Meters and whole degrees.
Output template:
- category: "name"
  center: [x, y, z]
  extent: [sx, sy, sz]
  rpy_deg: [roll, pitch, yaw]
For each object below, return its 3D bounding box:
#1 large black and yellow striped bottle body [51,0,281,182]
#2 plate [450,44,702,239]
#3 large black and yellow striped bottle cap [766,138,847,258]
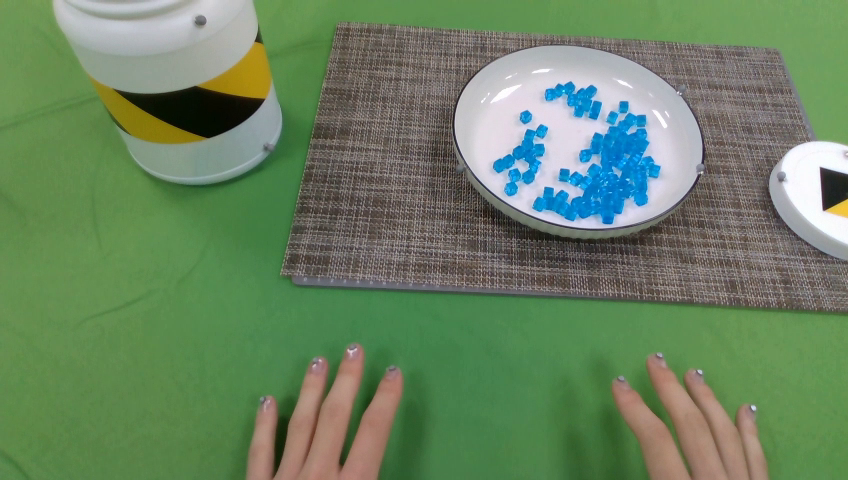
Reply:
- category: "large black and yellow striped bottle body"
  center: [-0.190, -0.148, 0.461]
  extent: [0.131, 0.185, 0.129]
  rpy_deg: [1, 57, -1]
- category: "plate"
  center: [0.124, -0.084, 0.514]
  extent: [0.208, 0.039, 0.205]
  rpy_deg: [1, 57, -1]
- category: "large black and yellow striped bottle cap"
  center: [0.345, -0.037, 0.503]
  extent: [0.115, 0.019, 0.114]
  rpy_deg: [3, 59, -4]
